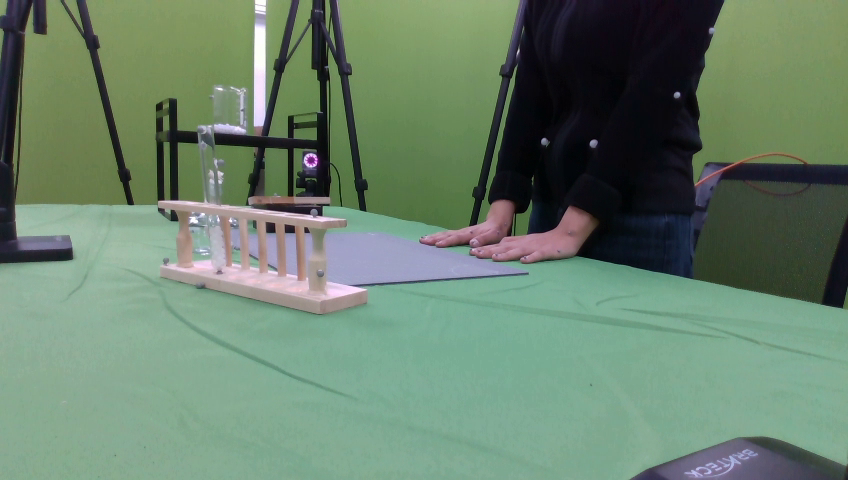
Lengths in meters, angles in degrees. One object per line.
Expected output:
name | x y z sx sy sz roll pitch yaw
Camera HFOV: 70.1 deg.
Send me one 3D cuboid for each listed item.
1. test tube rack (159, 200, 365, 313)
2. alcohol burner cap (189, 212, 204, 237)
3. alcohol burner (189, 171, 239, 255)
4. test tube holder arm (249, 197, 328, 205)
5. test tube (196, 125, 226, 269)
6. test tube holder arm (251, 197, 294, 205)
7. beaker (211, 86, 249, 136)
test tube rack | -0.173 0.009 0.625 0.241 0.085 0.067 7 9 34
alcohol burner cap | -0.389 -0.029 1.026 0.034 0.048 0.034 3 8 0
alcohol burner | -0.297 -0.039 0.853 0.078 0.119 0.078 3 6 0
test tube holder arm | -0.253 -0.075 1.147 0.013 0.015 0.179 5 6 38
test tube | -0.220 -0.043 0.627 0.017 0.150 0.017 -2 10 1
test tube holder arm | -0.277 -0.072 1.108 0.010 0.015 0.088 6 7 39
beaker | -0.413 -0.274 1.297 0.074 0.100 0.083 -5 11 -44
